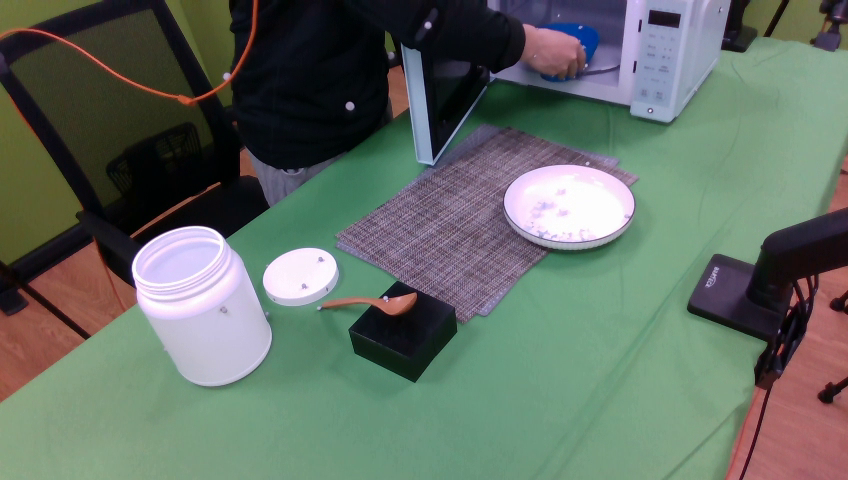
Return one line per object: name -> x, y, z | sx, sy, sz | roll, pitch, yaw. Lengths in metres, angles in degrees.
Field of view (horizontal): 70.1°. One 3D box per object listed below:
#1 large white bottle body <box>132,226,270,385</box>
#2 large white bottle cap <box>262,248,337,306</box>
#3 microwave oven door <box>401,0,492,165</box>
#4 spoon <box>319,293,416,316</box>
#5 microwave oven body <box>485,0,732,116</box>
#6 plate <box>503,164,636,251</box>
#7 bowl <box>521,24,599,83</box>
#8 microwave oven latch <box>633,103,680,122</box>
large white bottle body -> -0.285, 0.084, 0.784 | 0.130, 0.185, 0.130 | -4, 41, 4
large white bottle cap -> -0.193, 0.056, 0.934 | 0.115, 0.018, 0.114 | -4, 41, 4
microwave oven door -> 0.055, -0.343, 1.167 | 0.039, 0.245, 0.356 | 11, 44, 21
spoon -> -0.082, 0.086, 0.826 | 0.192, 0.022, 0.041 | -3, 37, 41
microwave oven body -> 0.377, -0.463, 1.267 | 0.438, 0.261, 0.327 | 21, 49, 30
plate -> 0.231, -0.051, 0.976 | 0.209, 0.038, 0.208 | -3, 41, 3
bowl -> 0.267, -0.366, 1.208 | 0.151, 0.077, 0.150 | -1, 40, 2
microwave oven latch -> 0.443, -0.249, 1.158 | 0.078, 0.029, 0.030 | 21, 49, 30
